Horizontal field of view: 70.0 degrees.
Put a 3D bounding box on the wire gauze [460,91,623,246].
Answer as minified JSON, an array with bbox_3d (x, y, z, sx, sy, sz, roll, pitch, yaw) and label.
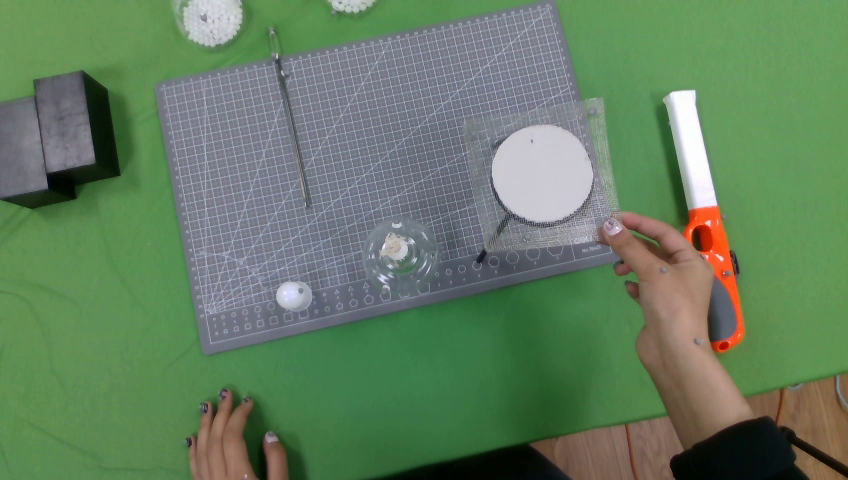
[{"bbox_3d":[0.100,-0.060,0.518,0.125,0.011,0.121,-8,85,-1],"label":"wire gauze"}]

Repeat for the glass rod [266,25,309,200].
[{"bbox_3d":[-0.148,-0.139,0.652,0.008,0.008,0.199,-13,84,-3],"label":"glass rod"}]

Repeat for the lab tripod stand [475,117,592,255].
[{"bbox_3d":[0.099,-0.050,0.584,0.148,0.131,0.148,0,85,-1],"label":"lab tripod stand"}]

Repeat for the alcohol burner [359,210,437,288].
[{"bbox_3d":[-0.026,0.007,0.586,0.078,0.119,0.077,0,85,0],"label":"alcohol burner"}]

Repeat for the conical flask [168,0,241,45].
[{"bbox_3d":[-0.237,-0.257,0.611,0.075,0.122,0.075,0,83,0],"label":"conical flask"}]

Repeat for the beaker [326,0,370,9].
[{"bbox_3d":[-0.085,-0.297,0.630,0.074,0.100,0.083,-10,82,-2],"label":"beaker"}]

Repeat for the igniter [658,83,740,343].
[{"bbox_3d":[0.291,-0.031,0.641,0.057,0.025,0.275,-8,84,-13],"label":"igniter"}]

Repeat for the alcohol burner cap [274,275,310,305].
[{"bbox_3d":[-0.136,0.050,0.616,0.034,0.048,0.034,0,83,-1],"label":"alcohol burner cap"}]
